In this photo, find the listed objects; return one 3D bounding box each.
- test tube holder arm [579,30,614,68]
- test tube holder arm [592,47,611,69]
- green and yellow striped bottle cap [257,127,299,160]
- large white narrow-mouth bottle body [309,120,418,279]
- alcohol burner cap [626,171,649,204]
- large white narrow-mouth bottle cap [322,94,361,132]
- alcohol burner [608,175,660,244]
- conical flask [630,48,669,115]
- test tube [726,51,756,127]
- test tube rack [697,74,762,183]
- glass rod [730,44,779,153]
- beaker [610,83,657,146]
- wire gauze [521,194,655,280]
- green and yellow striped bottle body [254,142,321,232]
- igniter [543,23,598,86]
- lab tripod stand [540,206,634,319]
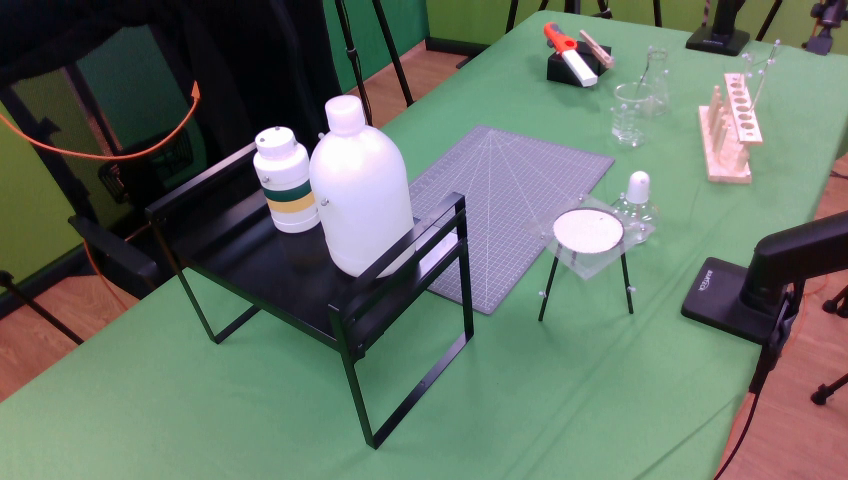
[{"bbox_3d":[0.384,-0.428,1.351,0.013,0.015,0.177,-11,41,-4],"label":"test tube holder arm"},{"bbox_3d":[0.386,-0.398,1.317,0.010,0.015,0.087,-10,41,-2],"label":"test tube holder arm"},{"bbox_3d":[-0.169,-0.112,0.698,0.045,0.020,0.045,-5,40,5],"label":"green and yellow striped bottle cap"},{"bbox_3d":[-0.068,-0.057,0.644,0.102,0.195,0.101,-6,40,5],"label":"large white narrow-mouth bottle body"},{"bbox_3d":[0.320,-0.081,0.900,0.034,0.048,0.033,-4,42,4],"label":"alcohol burner cap"},{"bbox_3d":[-0.080,-0.124,0.589,0.038,0.024,0.037,-5,40,5],"label":"large white narrow-mouth bottle cap"},{"bbox_3d":[0.322,-0.053,0.924,0.078,0.119,0.077,-4,43,4],"label":"alcohol burner"},{"bbox_3d":[0.456,-0.317,1.205,0.075,0.122,0.075,-4,41,4],"label":"conical flask"},{"bbox_3d":[0.567,-0.268,1.086,0.017,0.151,0.017,-4,45,5],"label":"test tube"},{"bbox_3d":[0.547,-0.208,1.095,0.066,0.085,0.242,5,42,15],"label":"test tube rack"},{"bbox_3d":[0.555,-0.234,1.021,0.008,0.200,0.008,2,40,-1],"label":"glass rod"},{"bbox_3d":[0.388,-0.235,1.138,0.074,0.101,0.083,-31,45,-25],"label":"beaker"},{"bbox_3d":[0.207,-0.012,0.772,0.122,0.011,0.124,-28,44,-20],"label":"wire gauze"},{"bbox_3d":[-0.165,-0.073,0.732,0.063,0.120,0.063,-4,41,4],"label":"green and yellow striped bottle body"},{"bbox_3d":[0.320,-0.419,1.345,0.057,0.025,0.274,-12,44,-3],"label":"igniter"},{"bbox_3d":[0.218,0.034,0.821,0.148,0.132,0.147,-4,42,4],"label":"lab tripod stand"}]
